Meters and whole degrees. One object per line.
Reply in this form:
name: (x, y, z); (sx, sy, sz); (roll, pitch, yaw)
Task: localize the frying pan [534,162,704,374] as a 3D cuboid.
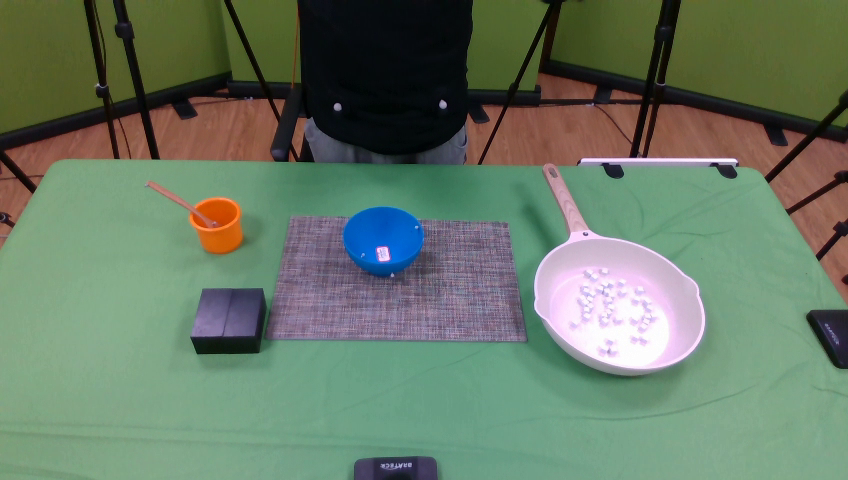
frying pan: (0.314, 0.034, 1.133); (0.307, 0.103, 0.484); (-7, 56, -12)

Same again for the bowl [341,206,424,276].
bowl: (-0.079, 0.014, 1.133); (0.151, 0.077, 0.150); (2, 46, -2)

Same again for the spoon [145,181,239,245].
spoon: (-0.429, -0.052, 1.126); (0.021, 0.195, 0.041); (-27, 34, 33)
